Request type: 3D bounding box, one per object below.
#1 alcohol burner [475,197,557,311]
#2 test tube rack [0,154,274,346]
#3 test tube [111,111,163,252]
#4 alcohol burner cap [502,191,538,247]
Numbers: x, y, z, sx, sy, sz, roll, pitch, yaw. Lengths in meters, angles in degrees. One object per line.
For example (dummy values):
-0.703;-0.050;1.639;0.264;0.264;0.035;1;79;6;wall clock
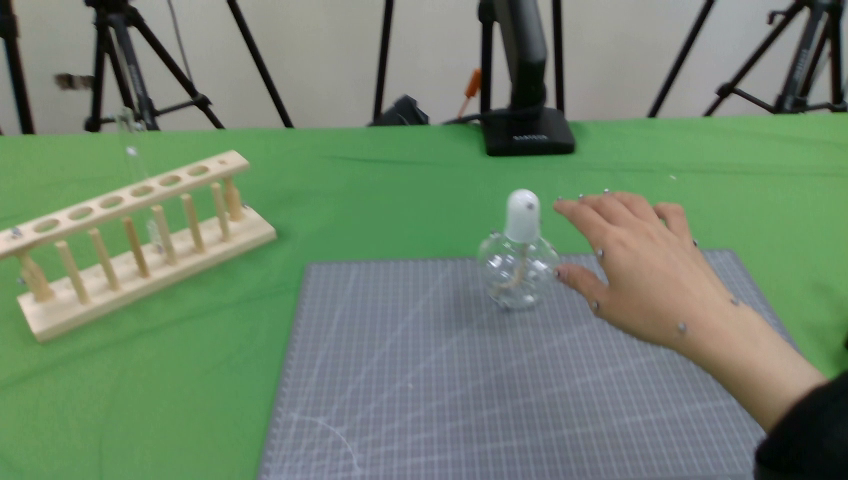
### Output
0.086;0.007;0.561;0.078;0.120;0.077;0;39;0;alcohol burner
-0.281;0.002;0.608;0.242;0.086;0.066;-28;44;-30;test tube rack
-0.280;-0.054;0.599;0.017;0.151;0.017;-1;31;1;test tube
0.086;-0.022;0.539;0.034;0.048;0.033;-2;41;2;alcohol burner cap
